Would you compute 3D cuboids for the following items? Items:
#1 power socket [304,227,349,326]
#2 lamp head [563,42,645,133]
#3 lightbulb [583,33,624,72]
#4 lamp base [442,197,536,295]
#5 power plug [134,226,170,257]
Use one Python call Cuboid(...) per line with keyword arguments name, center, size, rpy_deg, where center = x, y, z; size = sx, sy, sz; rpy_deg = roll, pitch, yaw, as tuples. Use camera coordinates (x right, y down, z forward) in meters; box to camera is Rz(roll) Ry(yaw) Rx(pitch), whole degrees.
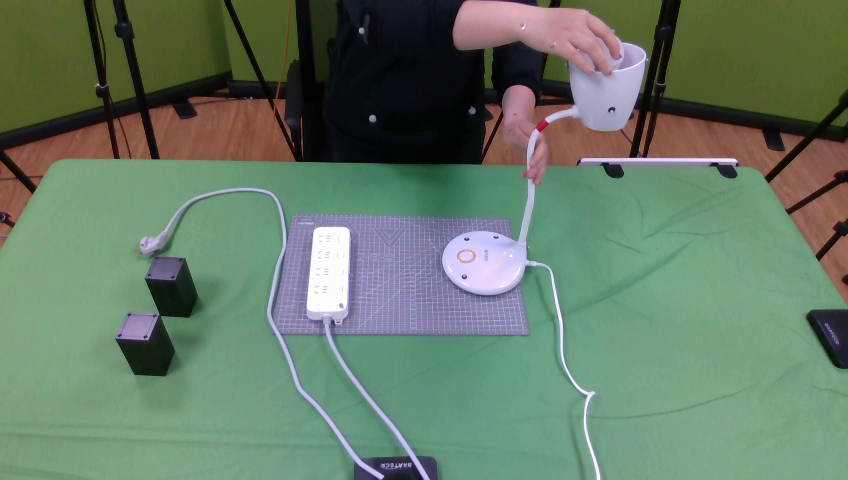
Cuboid(name="power socket", center=(-0.177, 0.059, 1.115), size=(0.072, 0.033, 0.225), rpy_deg=(-1, 46, -4))
Cuboid(name="lamp head", center=(0.273, -0.227, 0.929), size=(0.112, 0.123, 0.112), rpy_deg=(-3, 37, 2))
Cuboid(name="lightbulb", center=(0.272, -0.255, 0.911), size=(0.059, 0.108, 0.059), rpy_deg=(-12, 31, 8))
Cuboid(name="lamp base", center=(0.130, -0.012, 1.105), size=(0.179, 0.181, 0.159), rpy_deg=(-1, 46, -9))
Cuboid(name="power plug", center=(-0.515, 0.006, 1.153), size=(0.052, 0.035, 0.072), rpy_deg=(-6, 24, 6))
